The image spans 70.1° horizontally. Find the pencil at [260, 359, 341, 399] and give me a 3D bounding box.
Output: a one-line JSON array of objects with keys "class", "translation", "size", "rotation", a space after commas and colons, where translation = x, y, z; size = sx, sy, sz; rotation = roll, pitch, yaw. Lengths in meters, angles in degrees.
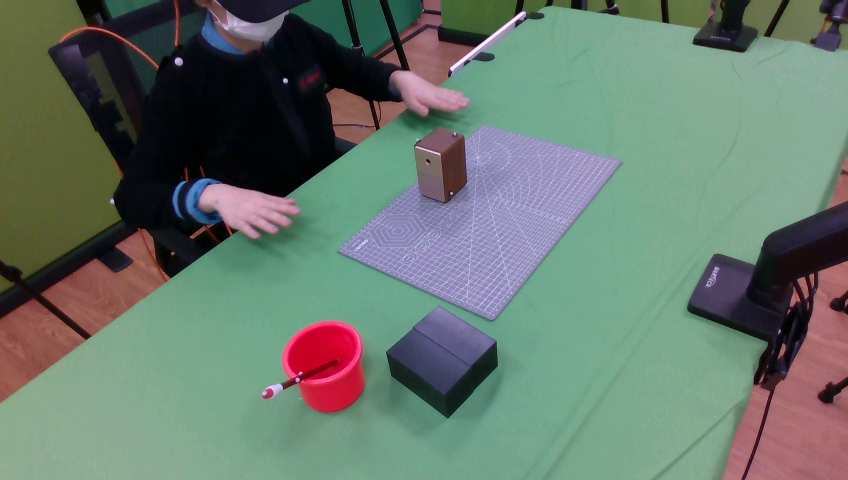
[{"class": "pencil", "translation": [-0.137, 0.157, 0.706], "size": [0.012, 0.012, 0.195], "rotation": [6, 2, 16]}]

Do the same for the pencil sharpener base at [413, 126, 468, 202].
[{"class": "pencil sharpener base", "translation": [0.032, -0.132, 1.047], "size": [0.061, 0.107, 0.077], "rotation": [22, 48, 30]}]

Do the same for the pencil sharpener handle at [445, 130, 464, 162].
[{"class": "pencil sharpener handle", "translation": [0.059, -0.171, 1.070], "size": [0.036, 0.068, 0.031], "rotation": [26, 50, 25]}]
